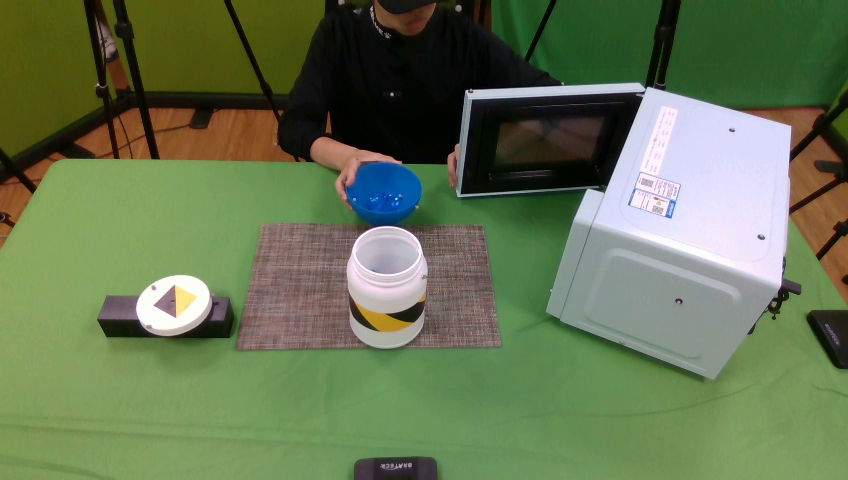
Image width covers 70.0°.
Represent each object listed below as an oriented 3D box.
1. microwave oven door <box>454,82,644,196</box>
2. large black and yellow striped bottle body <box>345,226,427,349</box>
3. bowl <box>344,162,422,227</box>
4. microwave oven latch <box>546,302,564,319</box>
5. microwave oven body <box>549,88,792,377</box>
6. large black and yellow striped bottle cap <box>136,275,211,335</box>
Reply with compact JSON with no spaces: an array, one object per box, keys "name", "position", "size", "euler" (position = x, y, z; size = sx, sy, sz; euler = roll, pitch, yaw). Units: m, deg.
[{"name":"microwave oven door","position":[0.247,-0.202,1.233],"size":[0.356,0.245,0.039],"euler":[-5,47,-8]},{"name":"large black and yellow striped bottle body","position":[-0.062,0.078,0.998],"size":[0.131,0.185,0.130],"euler":[2,46,-2]},{"name":"bowl","position":[-0.081,-0.078,1.201],"size":[0.151,0.077,0.150],"euler":[3,46,-3]},{"name":"microwave oven latch","position":[0.242,0.102,1.081],"size":[0.030,0.029,0.079],"euler":[21,48,17]},{"name":"microwave oven body","position":[0.456,-0.028,1.088],"size":[0.325,0.261,0.440],"euler":[20,47,16]},{"name":"large black and yellow striped bottle cap","position":[-0.412,0.105,0.999],"size":[0.115,0.019,0.114],"euler":[3,46,-3]}]
